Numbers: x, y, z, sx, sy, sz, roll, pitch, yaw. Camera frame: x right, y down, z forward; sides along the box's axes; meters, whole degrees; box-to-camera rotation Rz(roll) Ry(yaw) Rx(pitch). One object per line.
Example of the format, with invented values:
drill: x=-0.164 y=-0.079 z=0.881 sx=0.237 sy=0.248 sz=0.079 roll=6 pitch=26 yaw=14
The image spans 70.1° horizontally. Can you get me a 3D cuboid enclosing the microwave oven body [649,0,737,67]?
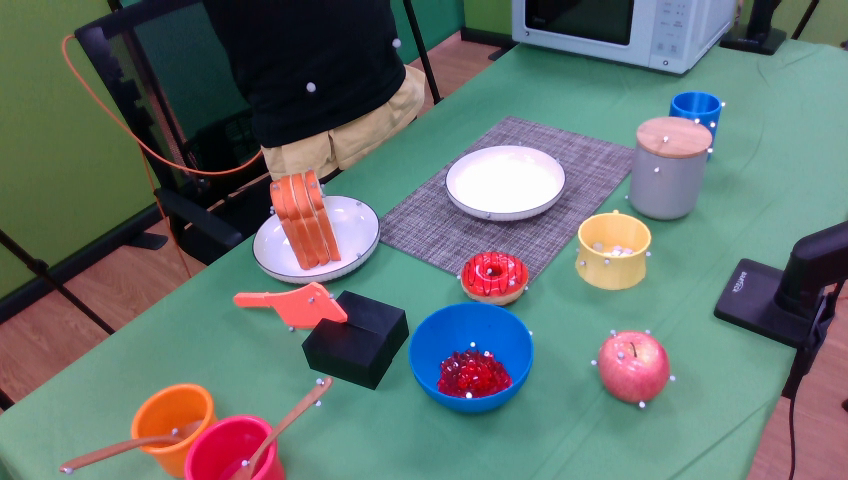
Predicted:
microwave oven body: x=0.475 y=-0.602 z=1.411 sx=0.438 sy=0.261 sz=0.327 roll=23 pitch=50 yaw=32

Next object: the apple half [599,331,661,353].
apple half: x=0.249 y=0.134 z=0.738 sx=0.081 sy=0.081 sz=0.032 roll=-2 pitch=46 yaw=7

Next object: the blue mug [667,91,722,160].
blue mug: x=0.474 y=-0.207 z=1.079 sx=0.082 sy=0.106 sz=0.116 roll=4 pitch=42 yaw=13

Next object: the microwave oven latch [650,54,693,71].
microwave oven latch: x=0.531 y=-0.386 z=1.301 sx=0.078 sy=0.029 sz=0.030 roll=26 pitch=51 yaw=33

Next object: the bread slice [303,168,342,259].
bread slice: x=-0.161 y=-0.046 z=0.952 sx=0.018 sy=0.135 sz=0.106 roll=-18 pitch=45 yaw=-6

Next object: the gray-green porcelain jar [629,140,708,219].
gray-green porcelain jar: x=0.383 y=-0.105 z=0.958 sx=0.106 sy=0.127 sz=0.105 roll=-4 pitch=41 yaw=4

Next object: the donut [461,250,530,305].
donut: x=0.103 y=0.053 z=0.872 sx=0.099 sy=0.048 sz=0.098 roll=-5 pitch=40 yaw=4

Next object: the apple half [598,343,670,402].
apple half: x=0.247 y=0.161 z=0.710 sx=0.081 sy=0.075 sz=0.053 roll=2 pitch=47 yaw=5

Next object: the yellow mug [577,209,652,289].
yellow mug: x=0.279 y=0.004 z=0.893 sx=0.099 sy=0.064 sz=0.130 roll=5 pitch=41 yaw=15

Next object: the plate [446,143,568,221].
plate: x=0.143 y=-0.097 z=1.045 sx=0.207 sy=0.039 sz=0.206 roll=-4 pitch=40 yaw=4

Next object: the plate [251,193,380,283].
plate: x=-0.173 y=-0.001 z=0.985 sx=0.209 sy=0.038 sz=0.208 roll=-4 pitch=41 yaw=4

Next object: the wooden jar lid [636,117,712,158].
wooden jar lid: x=0.377 y=-0.151 z=0.917 sx=0.108 sy=0.021 sz=0.108 roll=-2 pitch=41 yaw=3

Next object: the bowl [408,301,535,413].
bowl: x=0.060 y=0.156 z=0.739 sx=0.151 sy=0.077 sz=0.150 roll=-4 pitch=40 yaw=4

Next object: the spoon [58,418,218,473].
spoon: x=-0.304 y=0.221 z=0.661 sx=0.041 sy=0.195 sz=0.021 roll=20 pitch=92 yaw=27

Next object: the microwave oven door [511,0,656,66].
microwave oven door: x=0.351 y=-0.539 z=1.349 sx=0.353 sy=0.245 sz=0.039 roll=24 pitch=50 yaw=31

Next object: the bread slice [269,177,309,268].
bread slice: x=-0.212 y=-0.034 z=0.946 sx=0.019 sy=0.132 sz=0.104 roll=-18 pitch=39 yaw=-3

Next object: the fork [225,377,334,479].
fork: x=-0.163 y=0.216 z=0.646 sx=0.207 sy=0.019 sz=0.028 roll=-49 pitch=42 yaw=16

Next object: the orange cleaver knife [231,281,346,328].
orange cleaver knife: x=-0.192 y=0.093 z=0.844 sx=0.210 sy=0.077 sz=0.012 roll=-7 pitch=31 yaw=38
